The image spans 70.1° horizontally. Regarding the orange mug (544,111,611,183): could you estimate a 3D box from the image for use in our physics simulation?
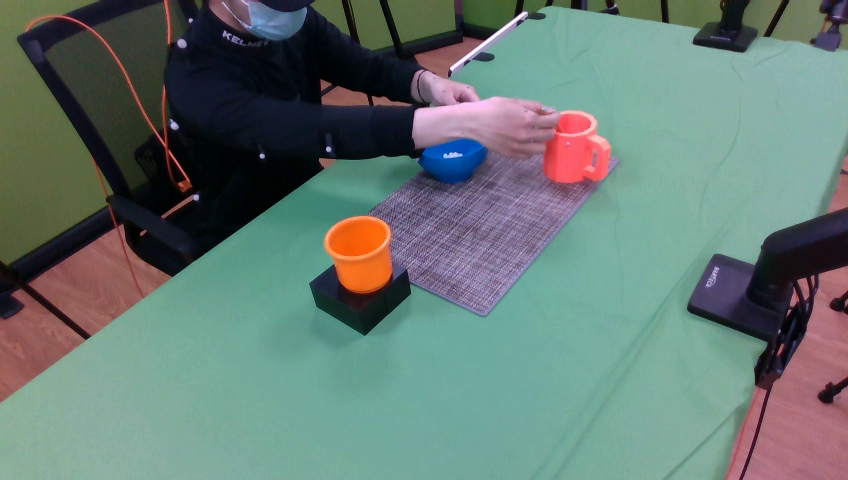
[{"bbox_3d":[0.266,-0.157,1.049,0.084,0.101,0.125,-33,42,-27],"label":"orange mug"}]

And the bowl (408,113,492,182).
[{"bbox_3d":[0.049,-0.158,1.096,0.151,0.077,0.150,-4,41,4],"label":"bowl"}]

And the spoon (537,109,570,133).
[{"bbox_3d":[0.220,-0.187,1.004,0.041,0.195,0.021,-9,77,29],"label":"spoon"}]
